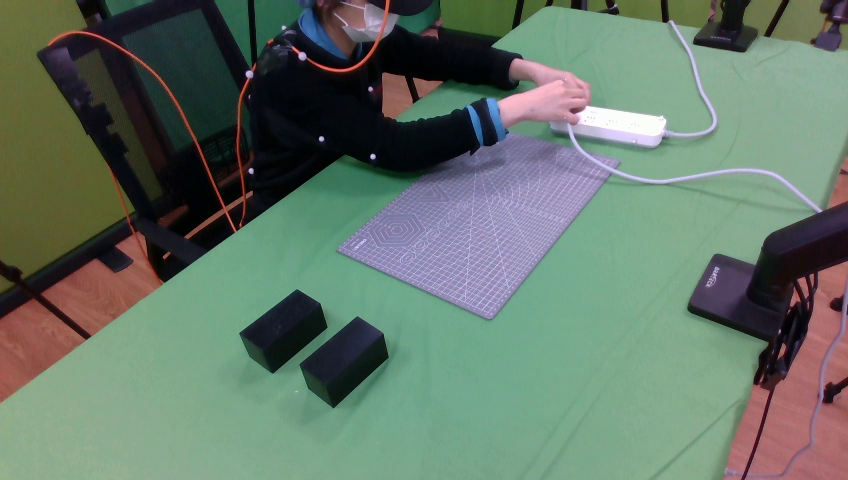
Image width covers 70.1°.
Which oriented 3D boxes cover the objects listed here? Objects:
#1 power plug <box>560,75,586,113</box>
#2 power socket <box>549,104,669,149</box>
[{"bbox_3d":[0.283,-0.279,1.159,0.052,0.073,0.035,10,46,49],"label":"power plug"},{"bbox_3d":[0.353,-0.222,1.169,0.225,0.033,0.072,17,47,25],"label":"power socket"}]
